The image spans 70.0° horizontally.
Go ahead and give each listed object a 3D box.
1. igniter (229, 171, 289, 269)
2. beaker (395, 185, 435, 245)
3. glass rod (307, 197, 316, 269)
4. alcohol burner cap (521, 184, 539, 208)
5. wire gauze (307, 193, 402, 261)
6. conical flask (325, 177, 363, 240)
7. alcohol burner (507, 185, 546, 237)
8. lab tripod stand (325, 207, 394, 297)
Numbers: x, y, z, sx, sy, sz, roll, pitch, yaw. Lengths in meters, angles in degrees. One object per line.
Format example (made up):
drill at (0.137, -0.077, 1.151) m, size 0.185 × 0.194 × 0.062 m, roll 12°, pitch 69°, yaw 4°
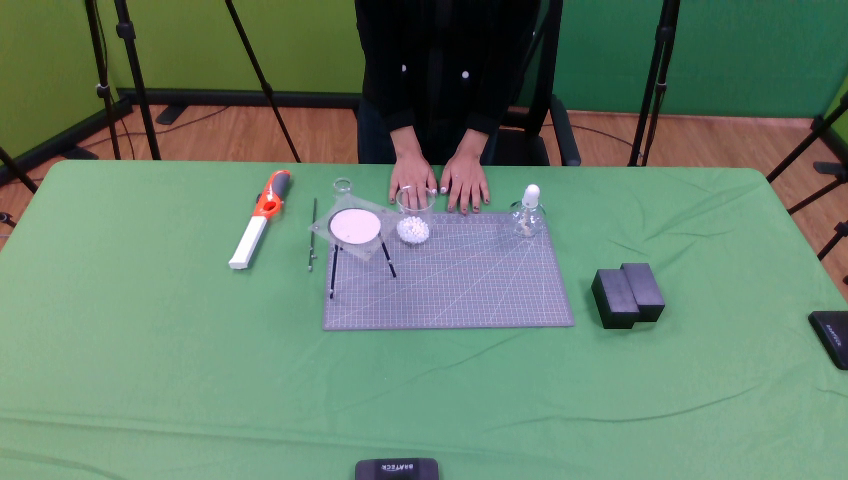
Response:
igniter at (-0.328, -0.049, 1.218) m, size 0.057 × 0.025 × 0.275 m, roll 1°, pitch 45°, yaw 11°
beaker at (-0.022, -0.048, 1.187) m, size 0.074 × 0.101 × 0.083 m, roll -28°, pitch 53°, yaw -28°
glass rod at (-0.224, -0.018, 1.210) m, size 0.008 × 0.008 × 0.198 m, roll -1°, pitch 46°, yaw -5°
alcohol burner cap at (0.210, -0.087, 1.184) m, size 0.034 × 0.048 × 0.033 m, roll 0°, pitch 52°, yaw 0°
wire gauze at (-0.118, -0.028, 1.043) m, size 0.125 × 0.011 × 0.121 m, roll 24°, pitch 47°, yaw 17°
conical flask at (-0.158, -0.064, 1.176) m, size 0.075 × 0.122 × 0.075 m, roll 2°, pitch 46°, yaw -2°
alcohol burner at (0.208, -0.063, 1.211) m, size 0.078 × 0.119 × 0.077 m, roll 3°, pitch 44°, yaw -3°
lab tripod stand at (-0.124, 0.017, 1.092) m, size 0.148 × 0.132 × 0.147 m, roll 3°, pitch 44°, yaw -3°
